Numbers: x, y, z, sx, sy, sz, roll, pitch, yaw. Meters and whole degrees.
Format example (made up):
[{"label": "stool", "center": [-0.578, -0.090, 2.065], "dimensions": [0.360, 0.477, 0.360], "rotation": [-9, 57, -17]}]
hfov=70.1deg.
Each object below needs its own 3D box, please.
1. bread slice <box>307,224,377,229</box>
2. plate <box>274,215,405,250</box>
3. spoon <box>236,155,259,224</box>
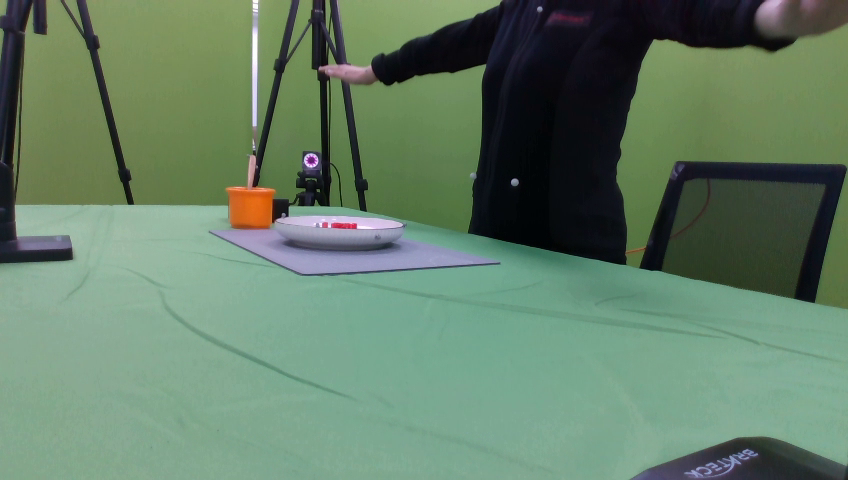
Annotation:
[{"label": "bread slice", "center": [-0.133, -0.011, 0.974], "dimensions": [0.135, 0.018, 0.106], "rotation": [-3, 8, -33]}, {"label": "plate", "center": [-0.136, -0.013, 0.981], "dimensions": [0.209, 0.038, 0.209], "rotation": [2, 7, 0]}, {"label": "spoon", "center": [-0.344, -0.102, 1.196], "dimensions": [0.042, 0.193, 0.021], "rotation": [-1, -36, -8]}]
